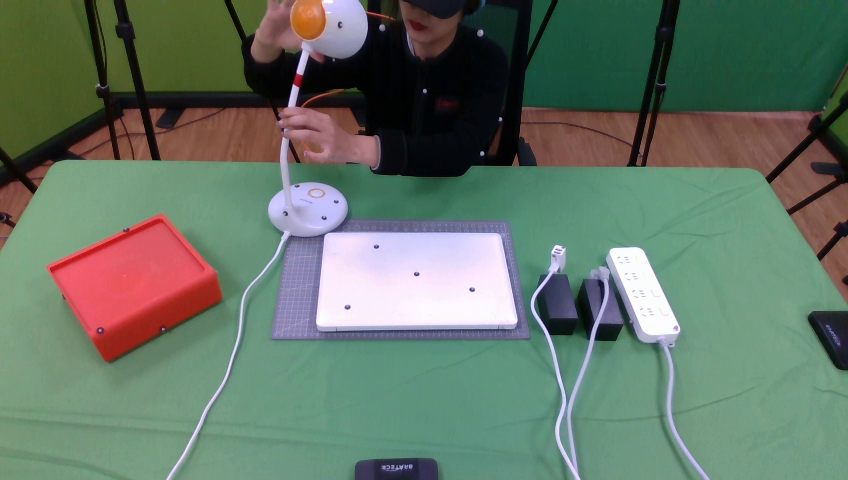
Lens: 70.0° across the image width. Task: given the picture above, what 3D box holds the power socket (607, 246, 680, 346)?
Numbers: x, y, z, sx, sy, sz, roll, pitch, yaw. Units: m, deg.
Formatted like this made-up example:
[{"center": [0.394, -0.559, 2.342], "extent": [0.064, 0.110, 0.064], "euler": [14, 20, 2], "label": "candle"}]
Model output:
[{"center": [0.403, 0.096, 1.123], "extent": [0.072, 0.033, 0.225], "euler": [-3, 46, -5], "label": "power socket"}]

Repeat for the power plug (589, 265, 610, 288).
[{"center": [0.318, 0.073, 1.108], "extent": [0.035, 0.053, 0.072], "euler": [26, 34, 13], "label": "power plug"}]

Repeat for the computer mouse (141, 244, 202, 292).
[{"center": [-0.459, 0.044, 1.099], "extent": [0.116, 0.041, 0.063], "euler": [30, 52, 29], "label": "computer mouse"}]

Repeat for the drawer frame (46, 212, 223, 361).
[{"center": [-0.495, 0.072, 1.049], "extent": [0.213, 0.083, 0.200], "euler": [-33, 56, -29], "label": "drawer frame"}]

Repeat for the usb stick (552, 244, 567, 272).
[{"center": [0.251, 0.039, 1.124], "extent": [0.021, 0.059, 0.027], "euler": [14, 47, 25], "label": "usb stick"}]

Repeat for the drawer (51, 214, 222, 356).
[{"center": [-0.494, 0.072, 1.053], "extent": [0.212, 0.073, 0.193], "euler": [-32, 57, -29], "label": "drawer"}]

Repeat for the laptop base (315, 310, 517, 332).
[{"center": [-0.016, 0.075, 1.125], "extent": [0.355, 0.023, 0.234], "euler": [0, 42, -4], "label": "laptop base"}]

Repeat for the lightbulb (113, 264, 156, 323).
[{"center": [-0.493, 0.091, 1.045], "extent": [0.059, 0.060, 0.107], "euler": [9, 62, 5], "label": "lightbulb"}]

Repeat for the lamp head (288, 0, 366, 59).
[{"center": [-0.173, -0.361, 1.014], "extent": [0.112, 0.113, 0.123], "euler": [21, 26, 16], "label": "lamp head"}]

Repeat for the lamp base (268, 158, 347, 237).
[{"center": [-0.237, -0.112, 1.177], "extent": [0.160, 0.181, 0.178], "euler": [13, 47, 10], "label": "lamp base"}]

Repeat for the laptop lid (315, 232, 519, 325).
[{"center": [-0.015, 0.065, 1.118], "extent": [0.357, 0.013, 0.240], "euler": [1, 43, -3], "label": "laptop lid"}]
